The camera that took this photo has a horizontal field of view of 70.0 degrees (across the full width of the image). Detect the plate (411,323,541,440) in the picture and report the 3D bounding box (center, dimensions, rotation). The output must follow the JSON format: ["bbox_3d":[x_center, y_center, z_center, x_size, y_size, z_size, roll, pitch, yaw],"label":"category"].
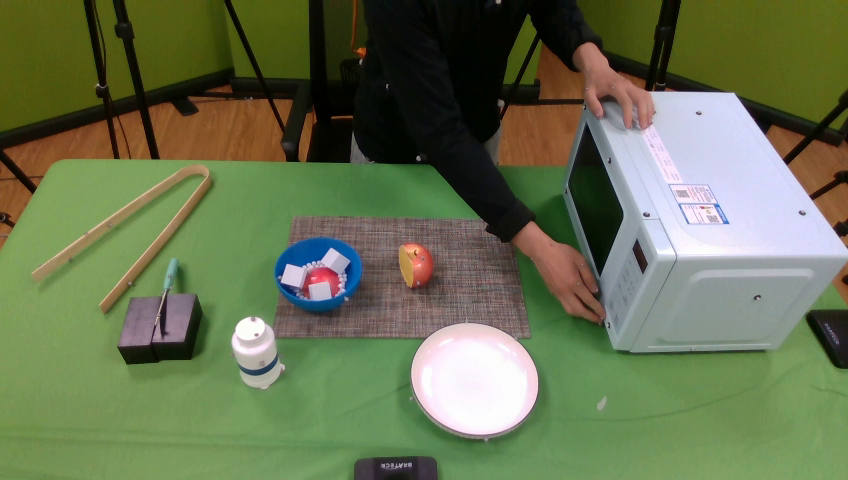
[{"bbox_3d":[0.082,0.228,0.976,0.208,0.039,0.206,2,45,-2],"label":"plate"}]

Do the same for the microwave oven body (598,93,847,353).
[{"bbox_3d":[0.476,-0.042,1.110,0.326,0.261,0.438,-1,45,-4],"label":"microwave oven body"}]

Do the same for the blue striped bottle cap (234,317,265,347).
[{"bbox_3d":[-0.260,0.136,0.906,0.044,0.021,0.044,5,42,-4],"label":"blue striped bottle cap"}]

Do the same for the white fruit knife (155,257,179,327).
[{"bbox_3d":[-0.440,0.085,1.037,0.016,0.027,0.206,10,26,-19],"label":"white fruit knife"}]

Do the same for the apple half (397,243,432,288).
[{"bbox_3d":[-0.013,0.047,1.115,0.053,0.075,0.080,-10,44,-21],"label":"apple half"}]

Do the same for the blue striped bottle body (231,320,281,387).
[{"bbox_3d":[-0.262,0.171,0.944,0.063,0.121,0.062,2,46,-2],"label":"blue striped bottle body"}]

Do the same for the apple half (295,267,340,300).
[{"bbox_3d":[-0.187,0.070,1.067,0.081,0.033,0.081,3,46,-3],"label":"apple half"}]

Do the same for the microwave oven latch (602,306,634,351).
[{"bbox_3d":[0.332,0.153,1.044,0.030,0.029,0.078,-1,45,-4],"label":"microwave oven latch"}]

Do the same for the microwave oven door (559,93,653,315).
[{"bbox_3d":[0.327,-0.074,1.123,0.039,0.245,0.353,-1,46,-5],"label":"microwave oven door"}]

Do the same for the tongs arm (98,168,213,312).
[{"bbox_3d":[-0.504,-0.013,1.167,0.028,0.028,0.385,11,45,11],"label":"tongs arm"}]

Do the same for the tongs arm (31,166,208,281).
[{"bbox_3d":[-0.578,-0.040,1.185,0.050,0.026,0.384,23,47,18],"label":"tongs arm"}]

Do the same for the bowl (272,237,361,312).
[{"bbox_3d":[-0.186,0.074,1.070,0.151,0.077,0.150,3,46,-3],"label":"bowl"}]
